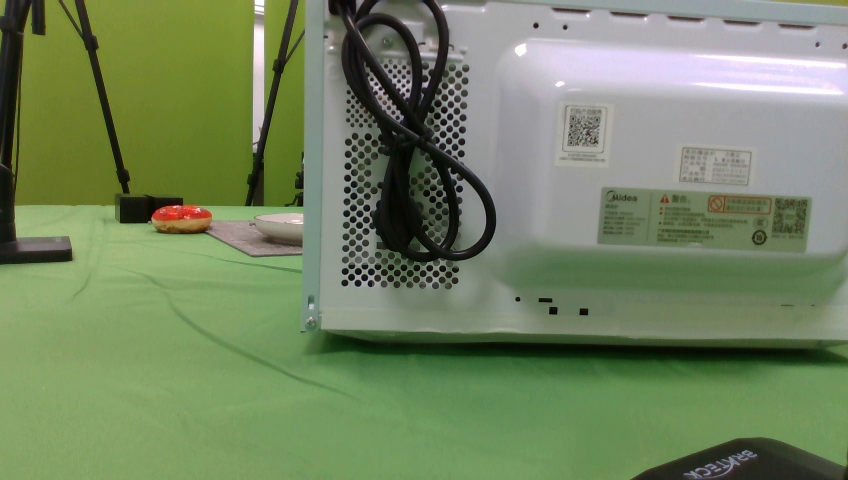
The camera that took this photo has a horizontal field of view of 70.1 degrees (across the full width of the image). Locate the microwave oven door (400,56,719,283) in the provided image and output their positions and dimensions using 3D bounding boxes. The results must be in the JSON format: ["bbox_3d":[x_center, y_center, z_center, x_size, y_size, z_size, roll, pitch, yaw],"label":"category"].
[{"bbox_3d":[0.155,-0.078,0.697,0.356,0.243,0.039,2,8,-5],"label":"microwave oven door"}]

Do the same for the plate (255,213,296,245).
[{"bbox_3d":[-0.177,-0.017,1.017,0.208,0.039,0.207,2,7,0],"label":"plate"}]

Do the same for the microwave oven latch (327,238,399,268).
[{"bbox_3d":[-0.069,0.015,0.694,0.079,0.029,0.030,3,7,-3],"label":"microwave oven latch"}]

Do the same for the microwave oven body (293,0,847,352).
[{"bbox_3d":[0.122,-0.055,0.550,0.442,0.260,0.325,3,7,-5],"label":"microwave oven body"}]

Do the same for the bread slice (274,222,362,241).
[{"bbox_3d":[-0.181,-0.016,1.011,0.104,0.019,0.132,5,8,27],"label":"bread slice"}]

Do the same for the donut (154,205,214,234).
[{"bbox_3d":[-0.426,-0.037,1.075,0.099,0.048,0.099,2,12,0],"label":"donut"}]
